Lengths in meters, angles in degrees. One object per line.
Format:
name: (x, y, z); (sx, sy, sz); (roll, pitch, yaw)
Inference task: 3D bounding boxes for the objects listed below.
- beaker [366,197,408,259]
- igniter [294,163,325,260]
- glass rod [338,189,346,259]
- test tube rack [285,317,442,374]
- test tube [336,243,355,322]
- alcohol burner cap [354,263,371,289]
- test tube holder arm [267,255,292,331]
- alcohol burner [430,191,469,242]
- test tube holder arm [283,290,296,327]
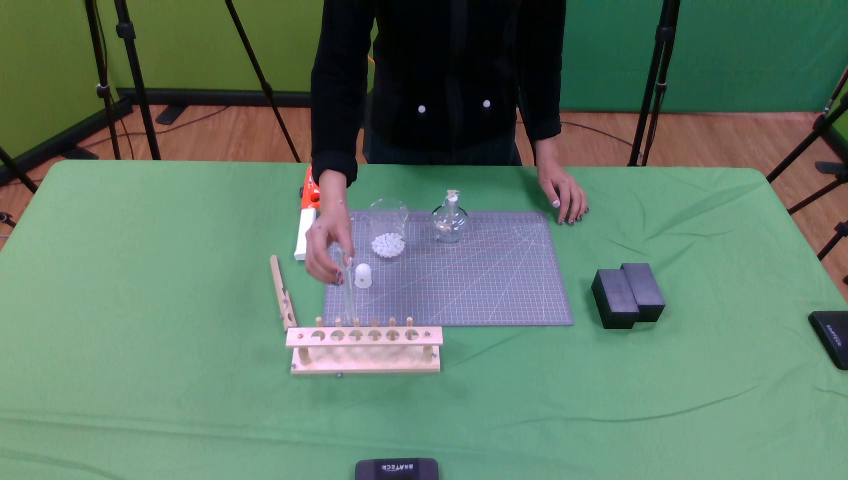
beaker: (-0.068, -0.018, 1.153); (0.074, 0.101, 0.083); (-25, 54, -25)
igniter: (-0.234, -0.067, 1.243); (0.057, 0.025, 0.274); (-6, 46, 4)
glass rod: (-0.166, -0.037, 1.227); (0.008, 0.008, 0.198); (0, 47, -3)
test tube rack: (-0.095, 0.166, 0.988); (0.242, 0.085, 0.066); (0, 46, -4)
test tube: (-0.114, 0.066, 0.890); (0.017, 0.151, 0.017); (0, 40, 1)
alcohol burner cap: (-0.113, 0.063, 1.111); (0.034, 0.048, 0.033); (2, 45, -2)
test tube holder arm: (-0.261, 0.091, 1.092); (0.013, 0.015, 0.177); (14, 35, -39)
alcohol burner: (0.052, -0.053, 1.185); (0.078, 0.119, 0.077); (2, 48, -2)
test tube holder arm: (-0.241, 0.123, 1.067); (0.010, 0.015, 0.087); (16, 34, -38)
